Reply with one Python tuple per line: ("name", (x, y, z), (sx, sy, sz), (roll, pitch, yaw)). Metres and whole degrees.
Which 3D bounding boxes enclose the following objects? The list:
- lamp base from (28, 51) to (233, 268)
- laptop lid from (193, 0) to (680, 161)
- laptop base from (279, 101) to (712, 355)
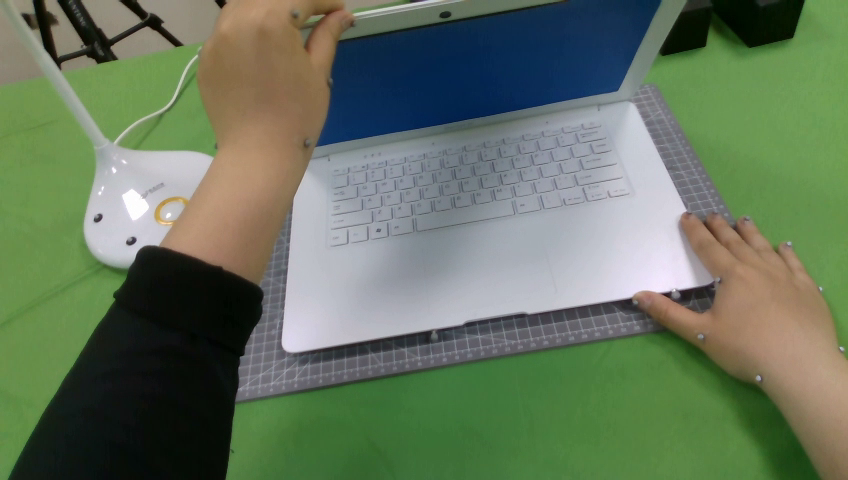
("lamp base", (-0.302, -0.088, 0.584), (0.178, 0.182, 0.160), (21, 57, 30))
("laptop lid", (0.022, -0.136, 0.517), (0.356, 0.243, 0.013), (-10, 78, 5))
("laptop base", (0.045, -0.021, 0.559), (0.354, 0.023, 0.233), (-10, 52, 3))
